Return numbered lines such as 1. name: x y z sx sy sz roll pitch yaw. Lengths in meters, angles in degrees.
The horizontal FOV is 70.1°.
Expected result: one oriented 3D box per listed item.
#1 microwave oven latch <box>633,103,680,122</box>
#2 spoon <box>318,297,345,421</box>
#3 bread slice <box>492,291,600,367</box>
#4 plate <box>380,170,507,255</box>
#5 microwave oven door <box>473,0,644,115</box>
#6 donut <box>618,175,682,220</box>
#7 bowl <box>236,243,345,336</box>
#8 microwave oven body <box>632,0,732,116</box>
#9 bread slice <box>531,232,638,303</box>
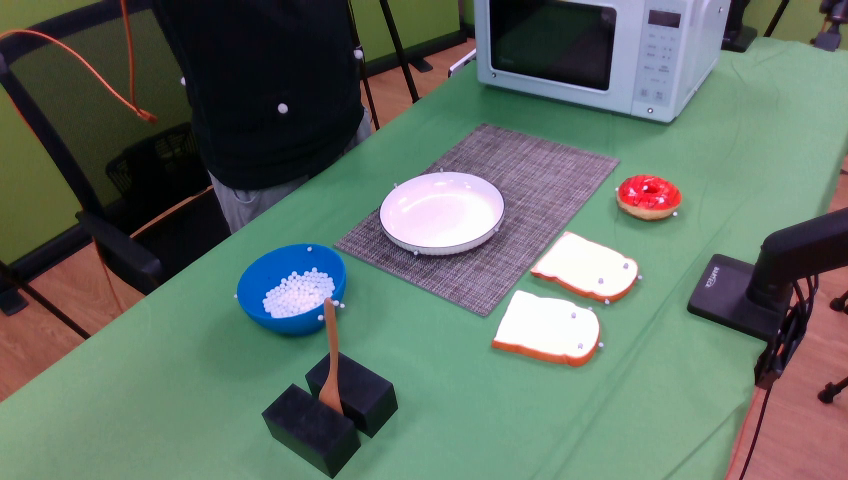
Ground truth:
1. microwave oven latch: 0.443 -0.249 1.158 0.078 0.029 0.030 21 49 30
2. spoon: -0.107 0.139 0.688 0.041 0.194 0.022 26 37 31
3. bread slice: 0.169 0.118 0.811 0.131 0.019 0.105 11 44 21
4. plate: 0.033 -0.042 0.995 0.207 0.039 0.206 -4 40 4
5. microwave oven door: 0.257 -0.396 1.199 0.353 0.245 0.039 21 48 29
6. donut: 0.366 -0.070 0.982 0.099 0.048 0.098 -3 39 3
7. bowl: -0.180 0.082 0.855 0.151 0.077 0.150 -4 41 4
8. microwave oven body: 0.377 -0.463 1.267 0.438 0.261 0.327 21 49 30
9. bread slice: 0.242 0.042 0.889 0.133 0.018 0.107 21 48 31
